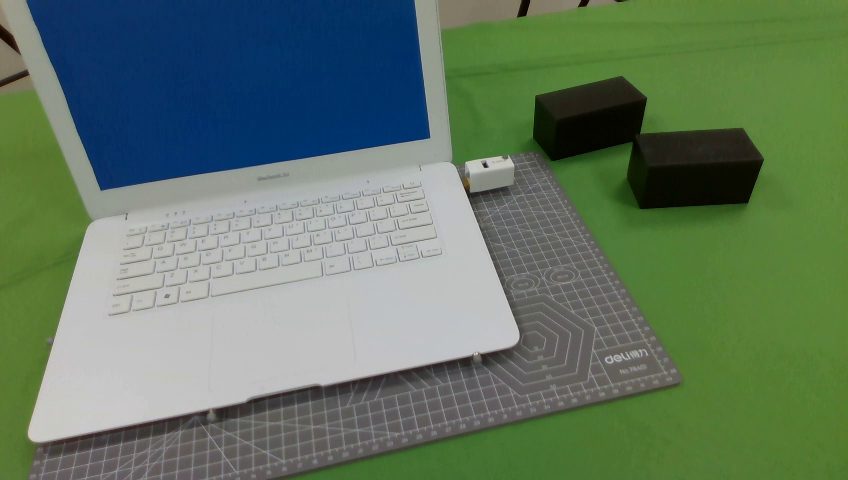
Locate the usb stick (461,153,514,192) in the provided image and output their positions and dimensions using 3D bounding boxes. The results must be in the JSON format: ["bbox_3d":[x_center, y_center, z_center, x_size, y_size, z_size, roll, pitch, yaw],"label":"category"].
[{"bbox_3d":[0.056,-0.064,0.584,0.059,0.027,0.021,-13,44,-5],"label":"usb stick"}]

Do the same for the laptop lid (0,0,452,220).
[{"bbox_3d":[-0.156,-0.147,0.540,0.357,0.243,0.013,-12,29,-5],"label":"laptop lid"}]

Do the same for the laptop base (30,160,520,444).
[{"bbox_3d":[-0.120,0.034,0.514,0.355,0.023,0.233,-10,47,-6],"label":"laptop base"}]
